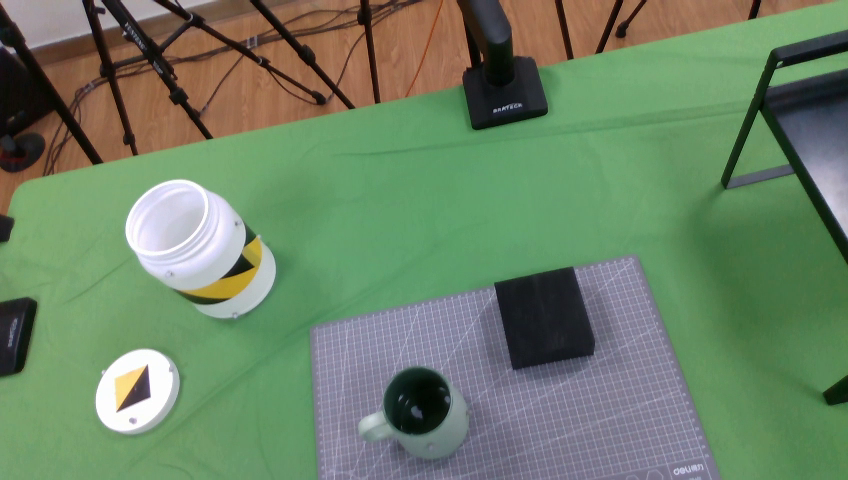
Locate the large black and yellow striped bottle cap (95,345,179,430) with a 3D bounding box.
[{"bbox_3d":[-0.392,0.200,0.828,0.115,0.019,0.114,-5,60,9],"label":"large black and yellow striped bottle cap"}]

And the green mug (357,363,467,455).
[{"bbox_3d":[-0.016,0.200,0.697,0.125,0.106,0.091,-20,60,1],"label":"green mug"}]

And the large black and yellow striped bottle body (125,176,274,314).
[{"bbox_3d":[-0.296,0.009,0.813,0.130,0.186,0.129,-5,61,9],"label":"large black and yellow striped bottle body"}]
